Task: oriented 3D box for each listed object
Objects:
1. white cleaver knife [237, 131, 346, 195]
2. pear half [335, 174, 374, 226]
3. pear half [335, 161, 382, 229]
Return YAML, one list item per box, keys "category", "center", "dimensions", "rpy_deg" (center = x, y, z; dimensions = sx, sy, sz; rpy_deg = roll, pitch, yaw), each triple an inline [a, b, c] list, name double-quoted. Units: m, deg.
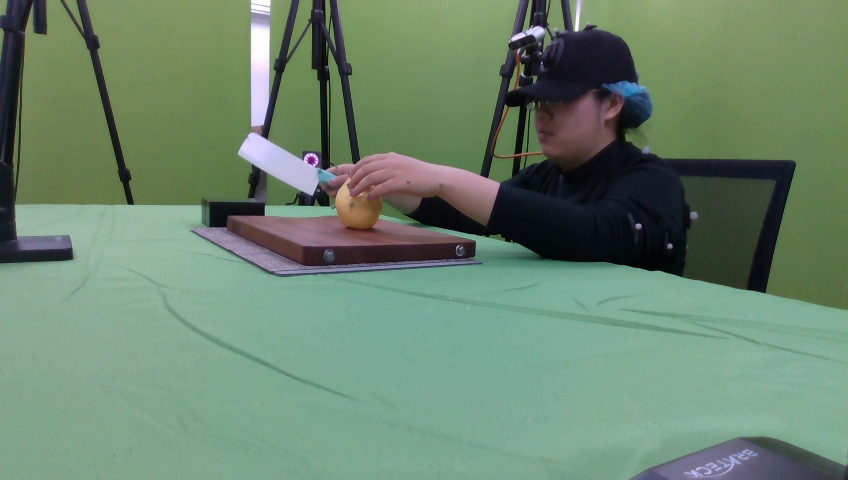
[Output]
- category: "white cleaver knife"
  center: [-0.234, -0.127, 1.208]
  dimensions: [0.288, 0.066, 0.021]
  rpy_deg: [27, -16, -27]
- category: "pear half"
  center: [-0.121, -0.067, 1.004]
  dimensions: [0.071, 0.088, 0.031]
  rpy_deg: [-14, 16, -39]
- category: "pear half"
  center: [-0.099, -0.072, 0.975]
  dimensions: [0.077, 0.110, 0.055]
  rpy_deg: [-9, 14, -40]
